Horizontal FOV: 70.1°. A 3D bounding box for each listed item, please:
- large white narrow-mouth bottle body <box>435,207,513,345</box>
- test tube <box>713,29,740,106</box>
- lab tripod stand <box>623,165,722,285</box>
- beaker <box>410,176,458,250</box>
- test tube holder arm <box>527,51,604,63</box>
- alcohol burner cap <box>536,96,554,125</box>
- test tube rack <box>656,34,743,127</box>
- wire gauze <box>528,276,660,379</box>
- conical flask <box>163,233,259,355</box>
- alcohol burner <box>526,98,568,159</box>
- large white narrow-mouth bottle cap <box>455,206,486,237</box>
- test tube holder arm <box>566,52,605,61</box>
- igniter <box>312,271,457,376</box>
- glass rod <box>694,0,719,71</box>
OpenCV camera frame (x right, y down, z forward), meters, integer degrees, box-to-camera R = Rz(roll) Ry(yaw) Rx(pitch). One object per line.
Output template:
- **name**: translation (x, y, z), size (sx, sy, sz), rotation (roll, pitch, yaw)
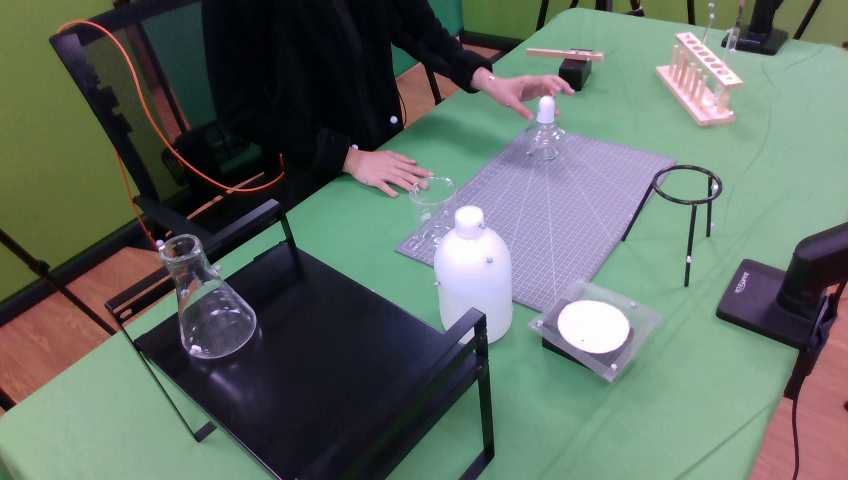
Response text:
- **large white narrow-mouth bottle body**: translation (0.065, 0.041, 0.791), size (0.102, 0.195, 0.101), rotation (-4, 41, 4)
- **test tube**: translation (0.572, -0.324, 1.147), size (0.017, 0.151, 0.017), rotation (-2, 38, 2)
- **lab tripod stand**: translation (0.365, -0.030, 0.875), size (0.148, 0.132, 0.147), rotation (-6, 41, 6)
- **beaker**: translation (0.022, -0.041, 0.964), size (0.073, 0.101, 0.084), rotation (28, 51, 35)
- **test tube holder arm**: translation (0.311, -0.408, 1.344), size (0.177, 0.015, 0.013), rotation (14, 38, 30)
- **alcohol burner cap**: translation (0.221, -0.237, 1.098), size (0.034, 0.048, 0.033), rotation (-3, 36, 2)
- **test tube rack**: translation (0.553, -0.330, 1.233), size (0.067, 0.085, 0.241), rotation (-7, 40, 2)
- **wire gauze**: translation (0.214, 0.103, 0.763), size (0.124, 0.011, 0.122), rotation (30, 52, 35)
- **conical flask**: translation (-0.216, 0.051, 0.601), size (0.075, 0.122, 0.075), rotation (-4, 40, 4)
- **alcohol burner**: translation (0.228, -0.210, 1.118), size (0.078, 0.119, 0.077), rotation (-5, 43, 5)
- **large white narrow-mouth bottle cap**: translation (0.057, -0.023, 0.734), size (0.038, 0.024, 0.037), rotation (-4, 40, 4)
- **test tube holder arm**: translation (0.352, -0.401, 1.325), size (0.087, 0.015, 0.010), rotation (15, 38, 30)
- **igniter**: translation (-0.068, 0.111, 0.859), size (0.274, 0.025, 0.057), rotation (27, 61, 34)
- **glass rod**: translation (0.561, -0.401, 1.214), size (0.008, 0.200, 0.008), rotation (-1, 49, 2)
